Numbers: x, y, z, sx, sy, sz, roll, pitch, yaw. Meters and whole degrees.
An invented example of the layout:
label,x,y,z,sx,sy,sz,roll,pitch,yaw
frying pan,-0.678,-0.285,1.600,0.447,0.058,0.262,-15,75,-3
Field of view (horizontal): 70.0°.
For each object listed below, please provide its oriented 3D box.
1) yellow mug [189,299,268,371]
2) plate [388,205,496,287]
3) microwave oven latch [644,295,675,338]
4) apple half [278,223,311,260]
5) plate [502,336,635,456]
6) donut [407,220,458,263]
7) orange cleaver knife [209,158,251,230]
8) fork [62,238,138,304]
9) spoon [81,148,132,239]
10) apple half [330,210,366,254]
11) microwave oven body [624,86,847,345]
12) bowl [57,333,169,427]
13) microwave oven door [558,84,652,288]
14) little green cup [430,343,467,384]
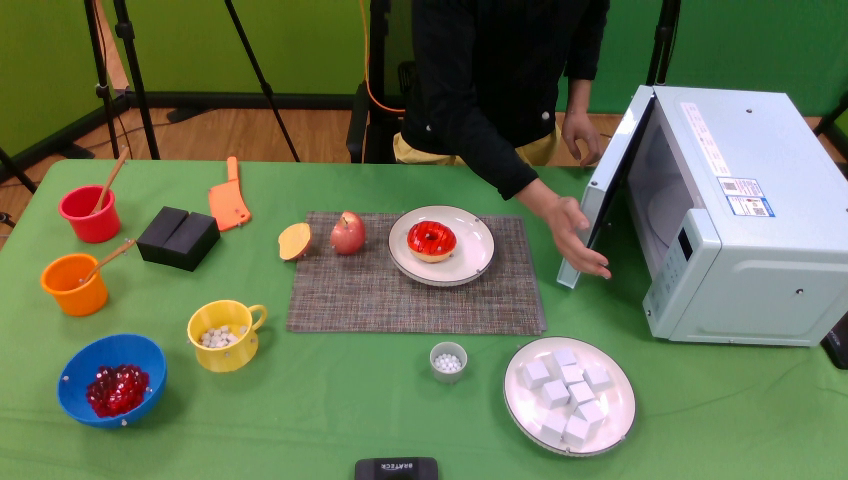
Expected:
label,x,y,z,sx,sy,sz,roll,pitch,yaw
yellow mug,-0.316,0.148,1.002,0.131,0.064,0.099,-32,56,-31
plate,0.033,0.014,1.171,0.209,0.038,0.208,2,46,-2
microwave oven latch,0.411,0.133,1.061,0.030,0.029,0.078,2,45,-1
apple half,-0.241,0.007,1.157,0.081,0.033,0.081,-17,54,24
plate,0.225,0.248,0.964,0.208,0.039,0.206,2,46,-2
donut,0.016,0.002,1.166,0.099,0.048,0.098,3,44,-2
orange cleaver knife,-0.409,-0.099,1.266,0.077,0.012,0.210,-14,49,-10
fork,-0.547,0.053,1.019,0.207,0.019,0.028,-36,41,23
spoon,-0.603,-0.089,1.156,0.041,0.022,0.193,28,95,20
apple half,-0.139,-0.009,1.157,0.053,0.075,0.080,17,43,8
microwave oven body,0.567,-0.053,1.118,0.326,0.261,0.439,2,45,-1
bowl,-0.456,0.223,0.912,0.151,0.077,0.150,3,45,-2
microwave oven door,0.349,-0.110,1.151,0.039,0.245,0.355,22,49,17
little green cup,0.039,0.203,0.994,0.061,0.039,0.061,2,46,-2
